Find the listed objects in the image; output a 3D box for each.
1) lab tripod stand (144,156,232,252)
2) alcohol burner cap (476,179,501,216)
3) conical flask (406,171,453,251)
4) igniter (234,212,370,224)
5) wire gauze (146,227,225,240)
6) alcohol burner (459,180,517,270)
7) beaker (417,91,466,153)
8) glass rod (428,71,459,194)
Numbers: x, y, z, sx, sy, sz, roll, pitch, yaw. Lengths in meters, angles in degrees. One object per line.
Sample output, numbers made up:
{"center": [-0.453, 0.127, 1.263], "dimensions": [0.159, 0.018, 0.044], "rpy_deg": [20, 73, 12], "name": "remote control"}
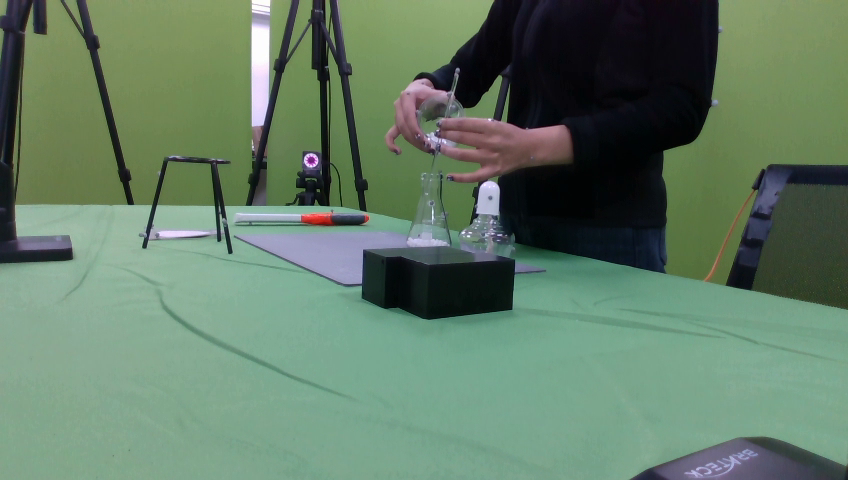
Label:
{"center": [-0.325, -0.054, 0.881], "dimensions": [0.148, 0.131, 0.148], "rpy_deg": [4, 7, 0], "name": "lab tripod stand"}
{"center": [0.086, -0.057, 0.801], "dimensions": [0.034, 0.048, 0.034], "rpy_deg": [4, 3, 0], "name": "alcohol burner cap"}
{"center": [0.011, -0.046, 0.948], "dimensions": [0.075, 0.122, 0.075], "rpy_deg": [2, 7, 0], "name": "conical flask"}
{"center": [-0.247, -0.046, 1.253], "dimensions": [0.278, 0.025, 0.057], "rpy_deg": [-1, -3, -27], "name": "igniter"}
{"center": [-0.400, -0.012, 1.019], "dimensions": [0.122, 0.011, 0.124], "rpy_deg": [-1, 6, -26], "name": "wire gauze"}
{"center": [0.086, -0.021, 0.805], "dimensions": [0.078, 0.119, 0.078], "rpy_deg": [3, 9, 0], "name": "alcohol burner"}
{"center": [0.026, -0.180, 0.958], "dimensions": [0.074, 0.084, 0.100], "rpy_deg": [6, -6, 1], "name": "beaker"}
{"center": [0.027, -0.154, 0.899], "dimensions": [0.008, 0.199, 0.008], "rpy_deg": [9, 33, -6], "name": "glass rod"}
